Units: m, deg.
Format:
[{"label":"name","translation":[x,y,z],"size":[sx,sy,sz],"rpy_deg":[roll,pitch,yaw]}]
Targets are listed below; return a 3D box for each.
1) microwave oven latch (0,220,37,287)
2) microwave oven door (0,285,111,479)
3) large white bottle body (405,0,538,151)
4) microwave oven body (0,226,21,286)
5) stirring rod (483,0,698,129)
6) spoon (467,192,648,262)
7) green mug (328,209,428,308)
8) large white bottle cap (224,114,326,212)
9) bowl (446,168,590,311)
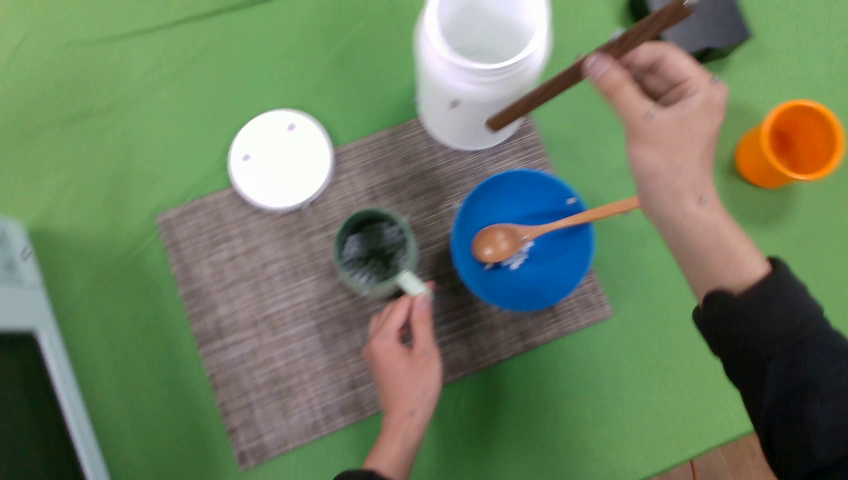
[{"label":"microwave oven latch","translation":[-0.450,0.018,0.654],"size":[0.030,0.029,0.079],"rpy_deg":[-23,85,-5]},{"label":"microwave oven door","translation":[-0.363,0.204,0.531],"size":[0.039,0.244,0.355],"rpy_deg":[-23,84,-4]},{"label":"large white bottle body","translation":[0.046,-0.183,0.633],"size":[0.130,0.185,0.130],"rpy_deg":[0,79,0]},{"label":"microwave oven body","translation":[-0.515,0.223,0.529],"size":[0.326,0.260,0.440],"rpy_deg":[-23,85,-5]},{"label":"stirring rod","translation":[0.109,-0.122,0.430],"size":[0.014,0.176,0.006],"rpy_deg":[43,47,-21]},{"label":"spoon","translation":[0.138,-0.016,0.641],"size":[0.193,0.022,0.041],"rpy_deg":[-17,86,20]},{"label":"green mug","translation":[-0.044,0.026,0.645],"size":[0.125,0.105,0.092],"rpy_deg":[41,83,3]},{"label":"large white bottle cap","translation":[-0.171,-0.089,0.699],"size":[0.115,0.018,0.114],"rpy_deg":[0,81,-1]},{"label":"bowl","translation":[0.097,0.004,0.666],"size":[0.151,0.077,0.151],"rpy_deg":[0,83,-1]}]
